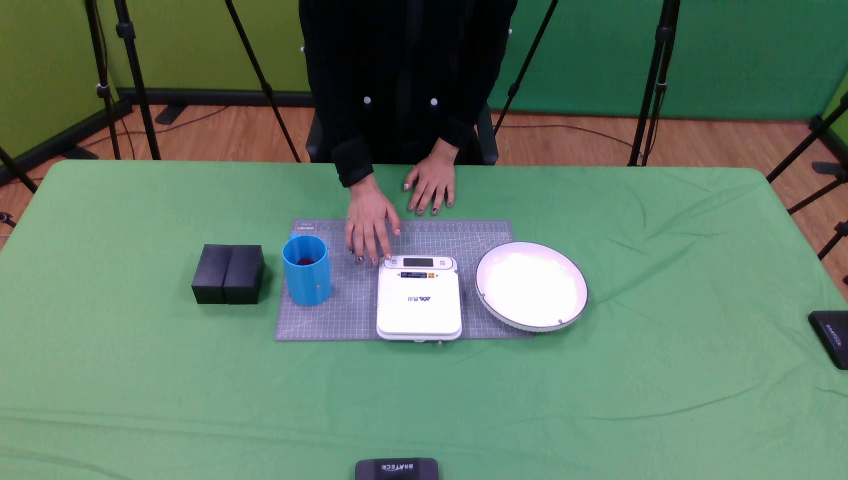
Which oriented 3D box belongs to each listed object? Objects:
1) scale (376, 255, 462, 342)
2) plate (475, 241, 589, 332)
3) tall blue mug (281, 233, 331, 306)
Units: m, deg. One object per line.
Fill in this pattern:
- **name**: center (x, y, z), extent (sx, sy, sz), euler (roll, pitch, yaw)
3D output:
- **scale**: center (-0.010, 0.096, 1.094), extent (0.149, 0.032, 0.199), euler (2, 46, -3)
- **plate**: center (0.195, 0.087, 1.112), extent (0.209, 0.038, 0.208), euler (3, 46, -3)
- **tall blue mug**: center (-0.219, 0.046, 1.073), extent (0.107, 0.108, 0.077), euler (28, 52, 21)
